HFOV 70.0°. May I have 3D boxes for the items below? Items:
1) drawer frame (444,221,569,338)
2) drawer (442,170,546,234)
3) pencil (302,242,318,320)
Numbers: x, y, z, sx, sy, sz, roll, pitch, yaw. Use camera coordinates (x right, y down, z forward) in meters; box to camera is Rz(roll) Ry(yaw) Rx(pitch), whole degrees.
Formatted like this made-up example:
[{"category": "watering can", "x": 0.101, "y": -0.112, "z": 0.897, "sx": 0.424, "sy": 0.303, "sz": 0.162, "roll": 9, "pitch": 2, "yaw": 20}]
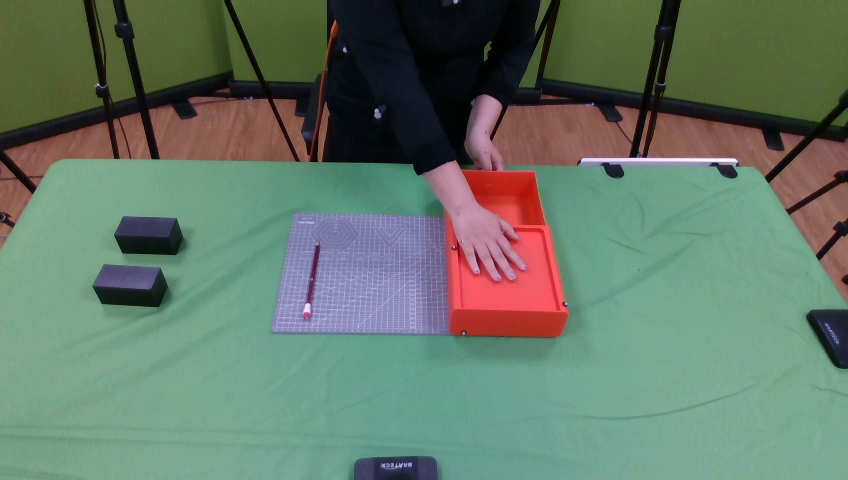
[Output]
[{"category": "drawer frame", "x": 0.141, "y": 0.067, "z": 1.098, "sx": 0.202, "sy": 0.083, "sz": 0.212, "roll": 2, "pitch": 46, "yaw": -4}, {"category": "drawer", "x": 0.138, "y": -0.048, "z": 1.212, "sx": 0.195, "sy": 0.073, "sz": 0.210, "roll": 1, "pitch": 46, "yaw": -4}, {"category": "pencil", "x": -0.209, "y": 0.070, "z": 1.119, "sx": 0.012, "sy": 0.012, "sz": 0.193, "roll": 2, "pitch": 44, "yaw": -3}]
